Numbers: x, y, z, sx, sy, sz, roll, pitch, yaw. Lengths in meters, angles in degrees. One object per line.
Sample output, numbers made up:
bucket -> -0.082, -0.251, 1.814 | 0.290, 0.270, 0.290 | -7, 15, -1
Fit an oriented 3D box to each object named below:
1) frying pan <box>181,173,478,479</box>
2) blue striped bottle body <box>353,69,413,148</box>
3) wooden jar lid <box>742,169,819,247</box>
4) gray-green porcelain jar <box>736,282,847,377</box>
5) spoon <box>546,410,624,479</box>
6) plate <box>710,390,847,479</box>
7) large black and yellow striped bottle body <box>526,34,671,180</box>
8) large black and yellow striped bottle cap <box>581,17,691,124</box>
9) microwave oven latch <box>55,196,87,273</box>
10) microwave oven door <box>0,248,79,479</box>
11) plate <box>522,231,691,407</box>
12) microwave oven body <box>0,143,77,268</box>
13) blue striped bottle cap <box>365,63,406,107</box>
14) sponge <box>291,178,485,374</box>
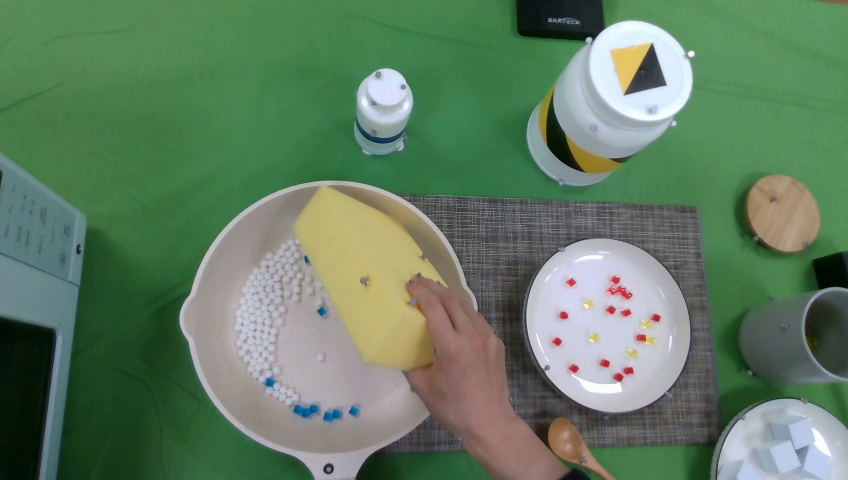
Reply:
frying pan -> -0.093, 0.171, 0.628 | 0.307, 0.103, 0.484 | 0, 70, -7
blue striped bottle body -> -0.048, -0.156, 0.699 | 0.063, 0.121, 0.063 | 2, 77, -9
wooden jar lid -> 0.477, -0.042, 0.815 | 0.108, 0.021, 0.108 | 2, 79, -9
gray-green porcelain jar -> 0.450, 0.111, 0.723 | 0.106, 0.127, 0.105 | 2, 77, -9
spoon -> 0.212, 0.269, 0.701 | 0.194, 0.022, 0.041 | 42, 58, 0
plate -> 0.437, 0.286, 0.729 | 0.208, 0.039, 0.206 | 2, 77, -9
large black and yellow striped bottle body -> 0.208, -0.159, 0.711 | 0.131, 0.184, 0.130 | 2, 77, -8
large black and yellow striped bottle cap -> 0.220, -0.177, 0.628 | 0.115, 0.019, 0.114 | 2, 76, -8
microwave oven latch -> -0.377, -0.006, 0.637 | 0.030, 0.029, 0.079 | 5, 78, -9
microwave oven door -> -0.364, 0.186, 0.493 | 0.039, 0.244, 0.354 | 2, 77, -9
plate -> 0.216, 0.093, 0.729 | 0.209, 0.038, 0.208 | 2, 78, -8
microwave oven body -> -0.509, 0.140, 0.484 | 0.327, 0.260, 0.439 | 2, 78, -9
blue striped bottle cap -> -0.041, -0.167, 0.650 | 0.045, 0.021, 0.044 | 2, 75, -7
sponge -> -0.043, 0.033, 0.611 | 0.061, 0.119, 0.204 | -52, 46, 16
